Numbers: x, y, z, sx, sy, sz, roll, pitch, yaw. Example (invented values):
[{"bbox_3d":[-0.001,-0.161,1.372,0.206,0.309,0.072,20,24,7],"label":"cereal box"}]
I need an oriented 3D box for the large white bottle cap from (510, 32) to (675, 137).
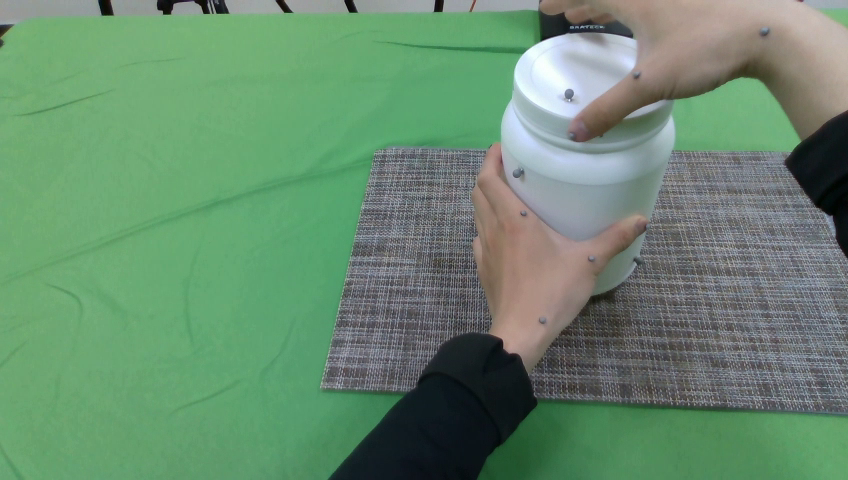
[{"bbox_3d":[0.120,-0.115,0.437,0.115,0.018,0.113,-2,47,3],"label":"large white bottle cap"}]

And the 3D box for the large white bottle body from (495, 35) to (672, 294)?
[{"bbox_3d":[0.125,-0.058,0.499,0.130,0.186,0.129,-2,48,2],"label":"large white bottle body"}]
